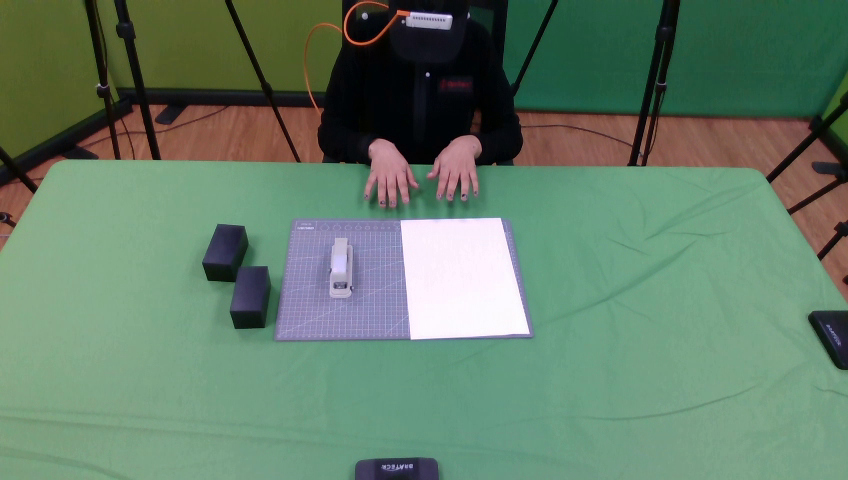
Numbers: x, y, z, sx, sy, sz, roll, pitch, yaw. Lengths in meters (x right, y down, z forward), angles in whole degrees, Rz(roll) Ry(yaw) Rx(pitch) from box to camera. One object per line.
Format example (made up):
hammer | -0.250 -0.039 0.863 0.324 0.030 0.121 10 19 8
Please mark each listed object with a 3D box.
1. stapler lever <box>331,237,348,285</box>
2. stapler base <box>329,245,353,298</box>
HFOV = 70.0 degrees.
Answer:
stapler lever | -0.155 0.032 1.116 0.027 0.040 0.117 1 44 -6
stapler base | -0.155 0.051 1.133 0.041 0.024 0.129 1 44 -6
